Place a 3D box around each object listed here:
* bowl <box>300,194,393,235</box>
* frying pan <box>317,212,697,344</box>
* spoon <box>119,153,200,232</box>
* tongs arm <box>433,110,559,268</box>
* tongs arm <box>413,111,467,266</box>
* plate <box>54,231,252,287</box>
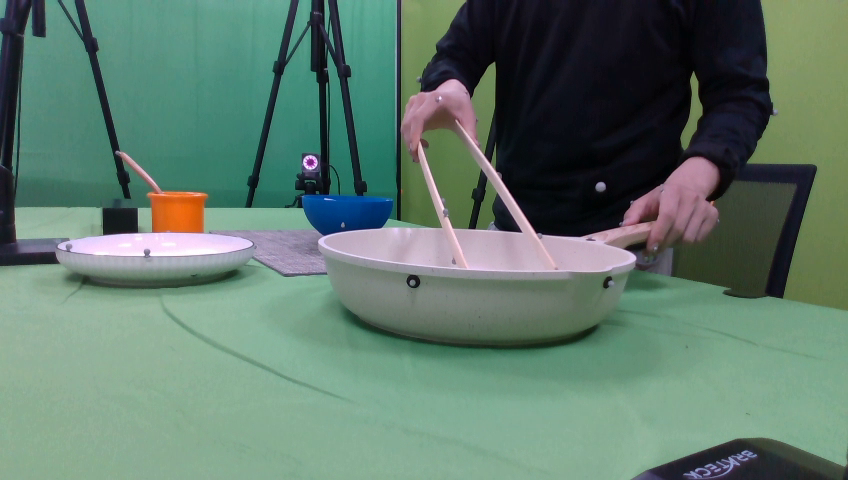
[{"bbox_3d":[-0.128,-0.034,0.995,0.151,0.077,0.151,3,7,0],"label":"bowl"},{"bbox_3d":[0.133,0.013,0.630,0.490,0.102,0.305,-12,14,-31],"label":"frying pan"},{"bbox_3d":[-0.439,-0.077,1.001,0.021,0.193,0.042,-43,-7,22],"label":"spoon"},{"bbox_3d":[0.073,-0.074,0.708,0.028,0.028,0.386,-19,36,-4],"label":"tongs arm"},{"bbox_3d":[0.028,-0.064,0.704,0.051,0.026,0.383,-14,35,-4],"label":"tongs arm"},{"bbox_3d":[-0.309,0.020,0.705,0.208,0.039,0.207,3,7,0],"label":"plate"}]
